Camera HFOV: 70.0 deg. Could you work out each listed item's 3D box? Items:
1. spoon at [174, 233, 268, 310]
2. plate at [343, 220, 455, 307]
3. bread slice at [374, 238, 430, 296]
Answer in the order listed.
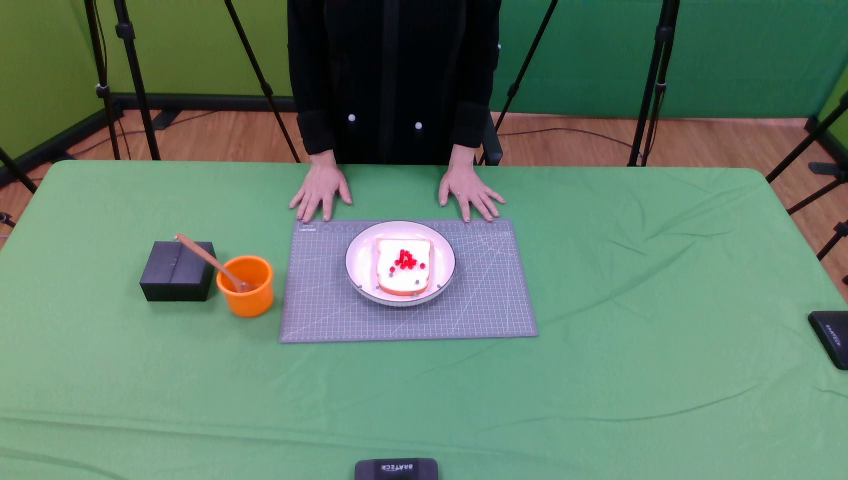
[{"bbox_3d":[-0.344,0.052,1.033,0.021,0.194,0.041,-19,32,43],"label":"spoon"},{"bbox_3d":[-0.047,0.046,1.135,0.209,0.038,0.208,2,46,-2],"label":"plate"},{"bbox_3d":[-0.039,0.048,1.135,0.107,0.018,0.133,-1,47,-4],"label":"bread slice"}]
